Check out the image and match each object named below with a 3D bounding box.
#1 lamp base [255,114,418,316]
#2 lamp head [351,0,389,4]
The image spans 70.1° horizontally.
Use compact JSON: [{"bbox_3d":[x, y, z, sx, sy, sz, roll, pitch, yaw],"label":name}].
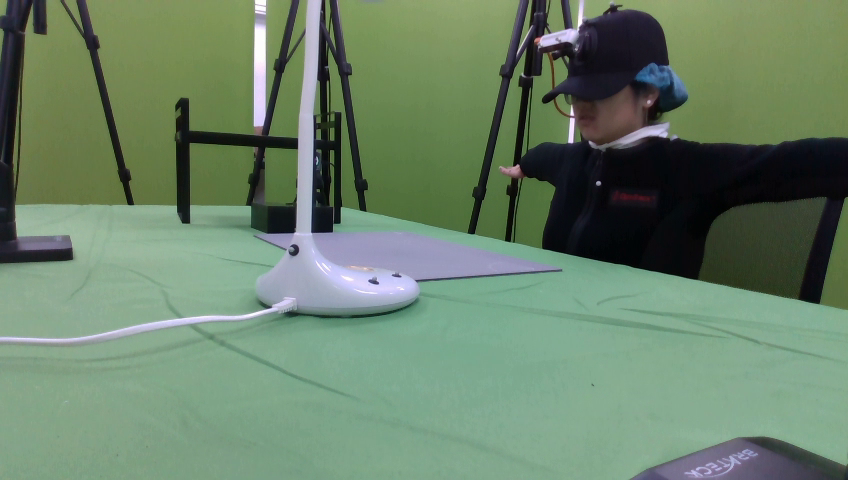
[{"bbox_3d":[-0.086,-0.027,0.577,0.160,0.180,0.179,4,10,16],"label":"lamp base"},{"bbox_3d":[-0.053,-0.313,0.597,0.112,0.112,0.123,6,-28,25],"label":"lamp head"}]
